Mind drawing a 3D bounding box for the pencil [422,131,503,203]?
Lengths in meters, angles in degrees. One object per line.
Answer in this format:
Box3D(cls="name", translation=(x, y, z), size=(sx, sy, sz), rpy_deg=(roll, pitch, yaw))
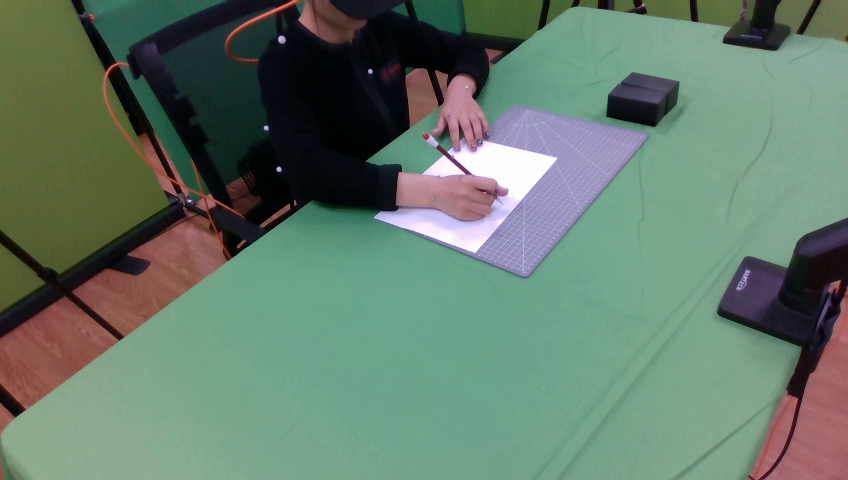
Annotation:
Box3D(cls="pencil", translation=(0.067, -0.116, 0.994), size=(0.012, 0.195, 0.012), rpy_deg=(-36, 33, 28))
